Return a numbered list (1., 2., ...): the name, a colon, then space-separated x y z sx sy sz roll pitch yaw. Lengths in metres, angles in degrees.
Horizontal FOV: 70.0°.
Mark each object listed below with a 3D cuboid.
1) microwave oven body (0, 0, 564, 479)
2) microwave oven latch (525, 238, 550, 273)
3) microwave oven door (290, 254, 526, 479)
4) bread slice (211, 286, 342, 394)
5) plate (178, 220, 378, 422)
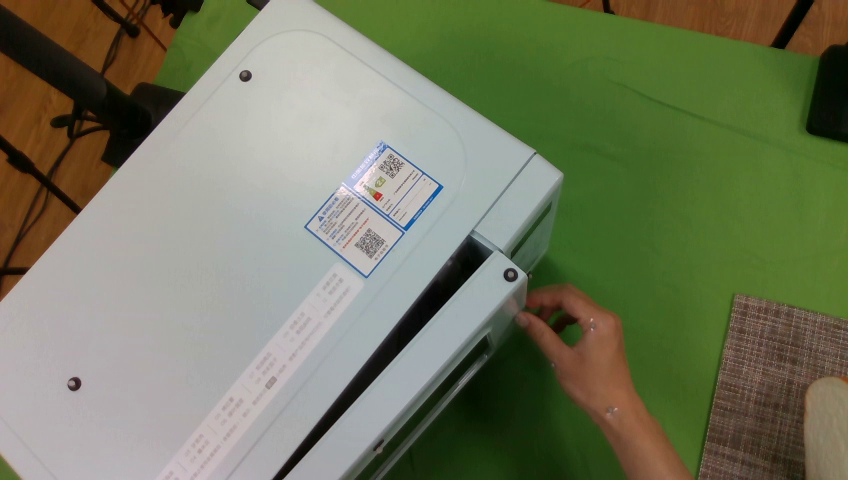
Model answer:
1. microwave oven body: -0.133 0.047 0.588 0.324 0.262 0.441 37 84 15
2. microwave oven latch: 0.105 0.021 0.661 0.030 0.030 0.079 39 85 15
3. microwave oven door: -0.039 0.171 0.538 0.039 0.245 0.355 42 85 17
4. bread slice: -0.153 0.111 0.632 0.134 0.018 0.106 -9 75 -2
5. plate: -0.148 0.083 0.634 0.207 0.039 0.206 -1 76 4
